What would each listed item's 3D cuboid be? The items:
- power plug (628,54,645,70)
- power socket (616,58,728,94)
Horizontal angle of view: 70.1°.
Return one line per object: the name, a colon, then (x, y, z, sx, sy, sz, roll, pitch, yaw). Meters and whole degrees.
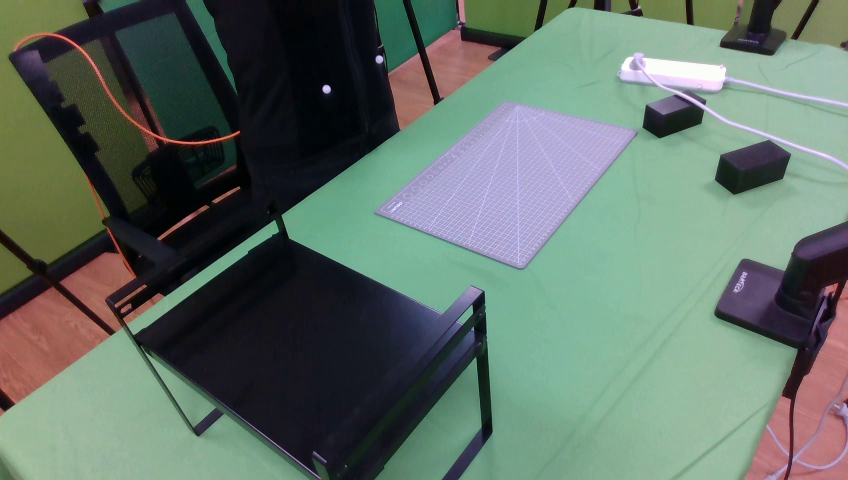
power plug: (0.451, -0.370, 1.300, 0.035, 0.053, 0.073, 22, 48, 31)
power socket: (0.531, -0.355, 1.303, 0.225, 0.033, 0.072, 15, 46, 23)
